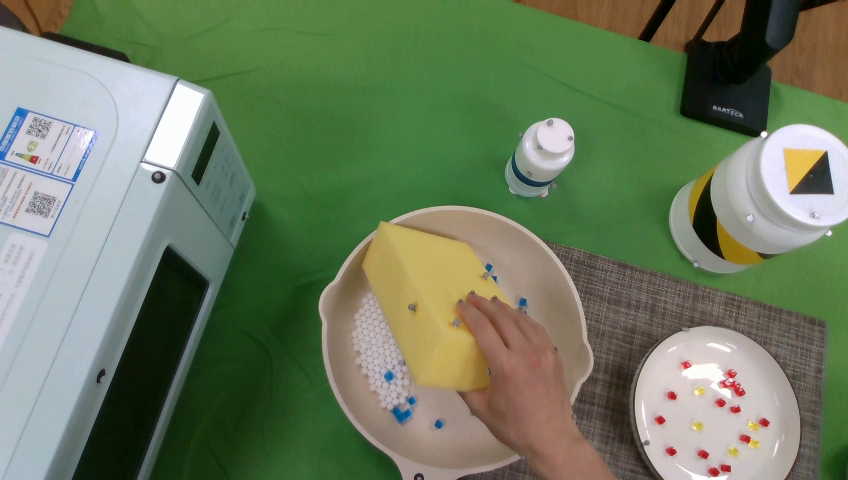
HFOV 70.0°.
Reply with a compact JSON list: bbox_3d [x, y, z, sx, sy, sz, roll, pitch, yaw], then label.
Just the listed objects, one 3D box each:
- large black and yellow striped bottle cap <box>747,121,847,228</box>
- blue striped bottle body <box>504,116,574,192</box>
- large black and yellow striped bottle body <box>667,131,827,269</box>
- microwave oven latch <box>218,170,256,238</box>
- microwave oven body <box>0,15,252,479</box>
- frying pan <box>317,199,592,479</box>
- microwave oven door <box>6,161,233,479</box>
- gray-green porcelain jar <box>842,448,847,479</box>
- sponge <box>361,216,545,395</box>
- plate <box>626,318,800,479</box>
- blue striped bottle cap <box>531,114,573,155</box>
[{"bbox_3d":[0.396,-0.069,0.632,0.115,0.019,0.114,2,74,-6],"label":"large black and yellow striped bottle cap"},{"bbox_3d":[0.140,-0.106,0.732,0.063,0.121,0.062,2,75,-6],"label":"blue striped bottle body"},{"bbox_3d":[0.388,-0.047,0.715,0.131,0.184,0.130,2,75,-6],"label":"large black and yellow striped bottle body"},{"bbox_3d":[-0.219,-0.045,0.698,0.030,0.029,0.079,19,75,-2],"label":"microwave oven latch"},{"bbox_3d":[-0.398,0.052,0.551,0.326,0.261,0.439,16,75,-2],"label":"microwave oven body"},{"bbox_3d":[0.008,0.193,0.646,0.307,0.103,0.484,15,66,0],"label":"frying pan"},{"bbox_3d":[-0.270,0.131,0.541,0.039,0.244,0.354,16,74,-2],"label":"microwave oven door"},{"bbox_3d":[0.556,0.271,0.682,0.106,0.127,0.105,2,75,-6],"label":"gray-green porcelain jar"},{"bbox_3d":[0.020,0.062,0.627,0.119,0.204,0.061,14,115,-29],"label":"sponge"},{"bbox_3d":[0.335,0.199,0.716,0.209,0.038,0.208,2,75,-5],"label":"plate"},{"bbox_3d":[0.145,-0.119,0.683,0.044,0.021,0.044,2,72,-5],"label":"blue striped bottle cap"}]
